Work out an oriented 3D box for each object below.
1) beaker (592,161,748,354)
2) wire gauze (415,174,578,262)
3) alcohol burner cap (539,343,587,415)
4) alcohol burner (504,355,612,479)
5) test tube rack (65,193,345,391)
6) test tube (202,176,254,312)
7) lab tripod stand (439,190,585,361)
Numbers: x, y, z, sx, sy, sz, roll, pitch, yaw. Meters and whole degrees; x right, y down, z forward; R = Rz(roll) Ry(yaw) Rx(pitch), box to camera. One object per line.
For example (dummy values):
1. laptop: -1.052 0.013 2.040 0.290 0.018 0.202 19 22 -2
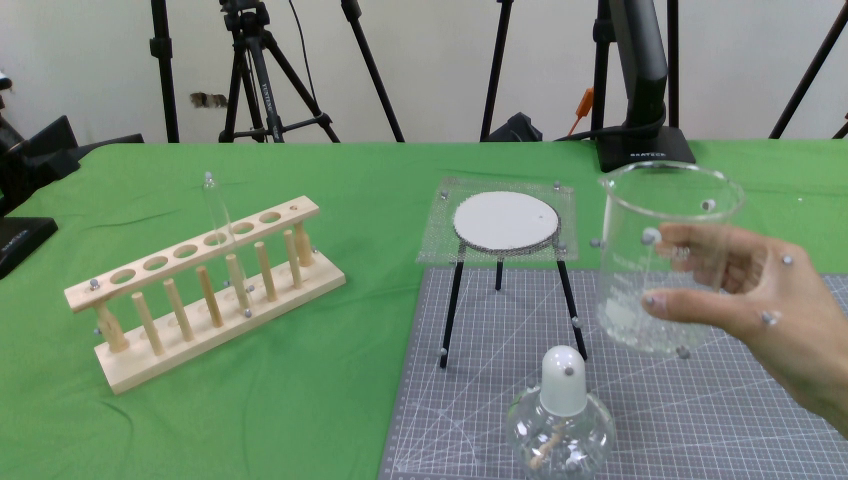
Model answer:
1. beaker: 0.140 0.011 0.369 0.083 0.101 0.074 22 39 36
2. wire gauze: 0.063 -0.020 0.496 0.121 0.011 0.124 3 37 10
3. alcohol burner cap: 0.093 0.090 0.407 0.034 0.048 0.033 -5 34 4
4. alcohol burner: 0.095 0.120 0.428 0.078 0.120 0.077 -3 37 2
5. test tube rack: -0.205 0.043 0.603 0.242 0.086 0.066 -26 40 -27
6. test tube: -0.184 0.008 0.573 0.017 0.151 0.017 -2 35 2
7. lab tripod stand: 0.076 0.034 0.535 0.148 0.132 0.147 -2 34 2
